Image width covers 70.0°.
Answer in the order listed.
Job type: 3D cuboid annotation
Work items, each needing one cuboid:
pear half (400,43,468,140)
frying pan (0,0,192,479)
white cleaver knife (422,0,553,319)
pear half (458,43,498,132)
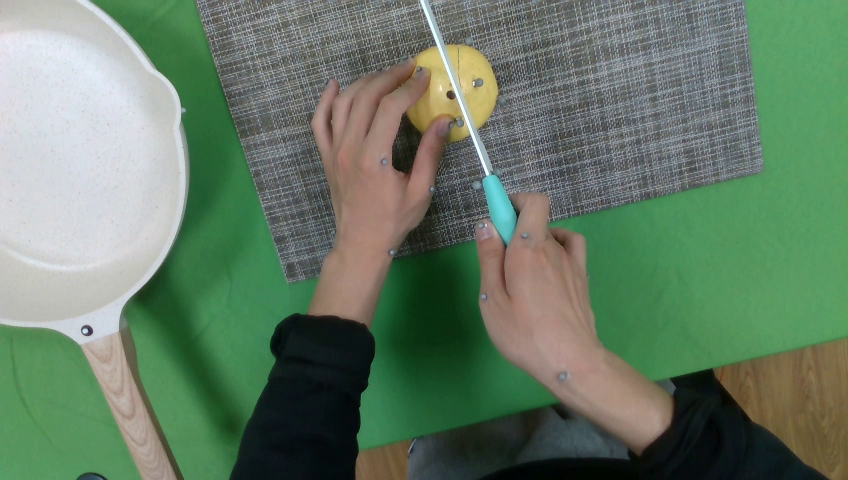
[{"bbox_3d":[0.008,-0.115,0.479,0.056,0.109,0.076,-13,100,5],"label":"pear half"},{"bbox_3d":[-0.303,0.026,0.529,0.307,0.102,0.488,-18,96,6],"label":"frying pan"},{"bbox_3d":[0.043,-0.066,0.434,0.021,0.065,0.288,-18,112,12],"label":"white cleaver knife"},{"bbox_3d":[0.044,-0.125,0.487,0.031,0.087,0.070,-13,101,4],"label":"pear half"}]
